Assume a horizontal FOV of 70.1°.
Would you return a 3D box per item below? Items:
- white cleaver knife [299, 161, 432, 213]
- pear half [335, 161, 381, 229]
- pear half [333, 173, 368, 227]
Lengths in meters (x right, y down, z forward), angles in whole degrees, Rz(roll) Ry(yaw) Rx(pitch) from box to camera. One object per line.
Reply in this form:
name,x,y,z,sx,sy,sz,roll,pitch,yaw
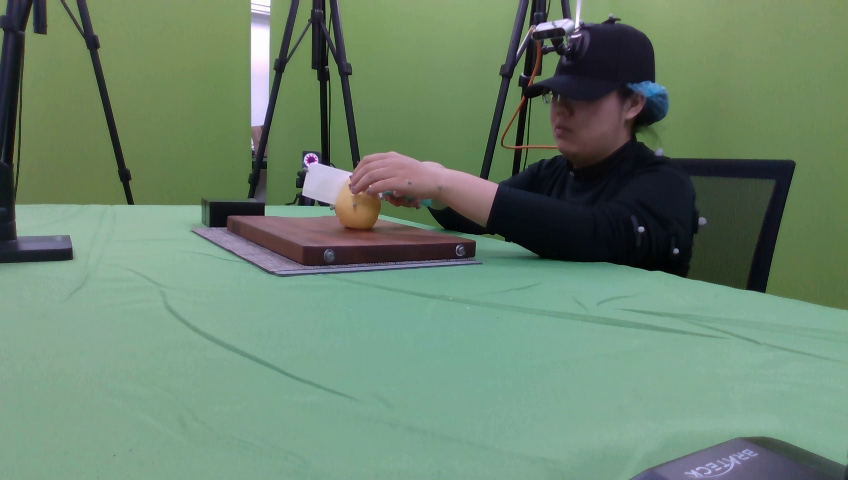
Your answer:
white cleaver knife,-0.091,-0.079,1.023,0.021,0.066,0.288,12,3,44
pear half,-0.100,-0.072,0.976,0.055,0.110,0.077,9,15,39
pear half,-0.128,-0.066,1.003,0.031,0.088,0.071,2,15,38
